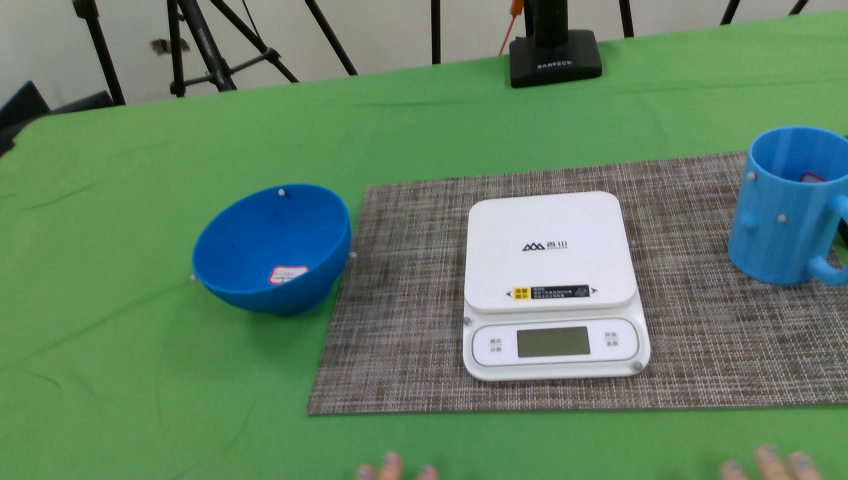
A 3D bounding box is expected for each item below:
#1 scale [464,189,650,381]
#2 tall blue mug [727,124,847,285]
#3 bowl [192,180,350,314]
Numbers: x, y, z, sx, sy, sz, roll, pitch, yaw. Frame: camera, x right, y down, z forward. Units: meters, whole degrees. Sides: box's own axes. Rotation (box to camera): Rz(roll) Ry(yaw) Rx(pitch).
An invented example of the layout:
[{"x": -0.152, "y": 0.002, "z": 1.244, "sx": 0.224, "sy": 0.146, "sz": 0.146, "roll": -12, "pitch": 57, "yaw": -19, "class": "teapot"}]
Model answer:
[{"x": 0.111, "y": 0.032, "z": 0.541, "sx": 0.148, "sy": 0.032, "sz": 0.199, "roll": -5, "pitch": 44, "yaw": 11, "class": "scale"}, {"x": 0.308, "y": -0.022, "z": 0.486, "sx": 0.106, "sy": 0.109, "sz": 0.077, "roll": 28, "pitch": 57, "yaw": 37, "class": "tall blue mug"}, {"x": -0.137, "y": 0.019, "z": 0.592, "sx": 0.151, "sy": 0.077, "sz": 0.150, "roll": -7, "pitch": 43, "yaw": 8, "class": "bowl"}]
